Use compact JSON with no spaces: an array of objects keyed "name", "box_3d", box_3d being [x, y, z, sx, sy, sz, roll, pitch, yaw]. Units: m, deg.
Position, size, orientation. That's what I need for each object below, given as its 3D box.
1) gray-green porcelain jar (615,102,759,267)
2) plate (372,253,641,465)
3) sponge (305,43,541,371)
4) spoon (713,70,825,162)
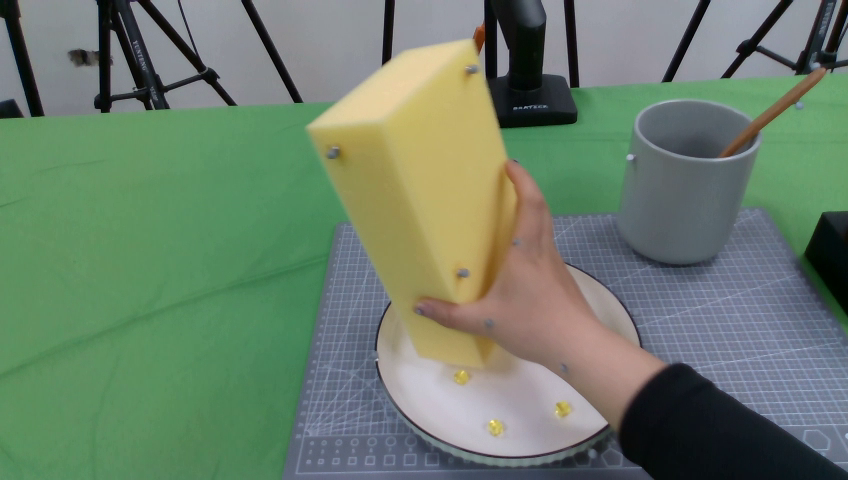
[{"name":"gray-green porcelain jar","box_3d":[0.237,-0.047,0.563,0.106,0.128,0.105,-3,41,3]},{"name":"plate","box_3d":[0.064,0.089,0.489,0.207,0.039,0.205,-2,41,2]},{"name":"sponge","box_3d":[0.013,-0.019,0.441,0.060,0.209,0.118,3,41,36]},{"name":"spoon","box_3d":[0.264,-0.070,0.530,0.022,0.194,0.041,29,39,-4]}]
